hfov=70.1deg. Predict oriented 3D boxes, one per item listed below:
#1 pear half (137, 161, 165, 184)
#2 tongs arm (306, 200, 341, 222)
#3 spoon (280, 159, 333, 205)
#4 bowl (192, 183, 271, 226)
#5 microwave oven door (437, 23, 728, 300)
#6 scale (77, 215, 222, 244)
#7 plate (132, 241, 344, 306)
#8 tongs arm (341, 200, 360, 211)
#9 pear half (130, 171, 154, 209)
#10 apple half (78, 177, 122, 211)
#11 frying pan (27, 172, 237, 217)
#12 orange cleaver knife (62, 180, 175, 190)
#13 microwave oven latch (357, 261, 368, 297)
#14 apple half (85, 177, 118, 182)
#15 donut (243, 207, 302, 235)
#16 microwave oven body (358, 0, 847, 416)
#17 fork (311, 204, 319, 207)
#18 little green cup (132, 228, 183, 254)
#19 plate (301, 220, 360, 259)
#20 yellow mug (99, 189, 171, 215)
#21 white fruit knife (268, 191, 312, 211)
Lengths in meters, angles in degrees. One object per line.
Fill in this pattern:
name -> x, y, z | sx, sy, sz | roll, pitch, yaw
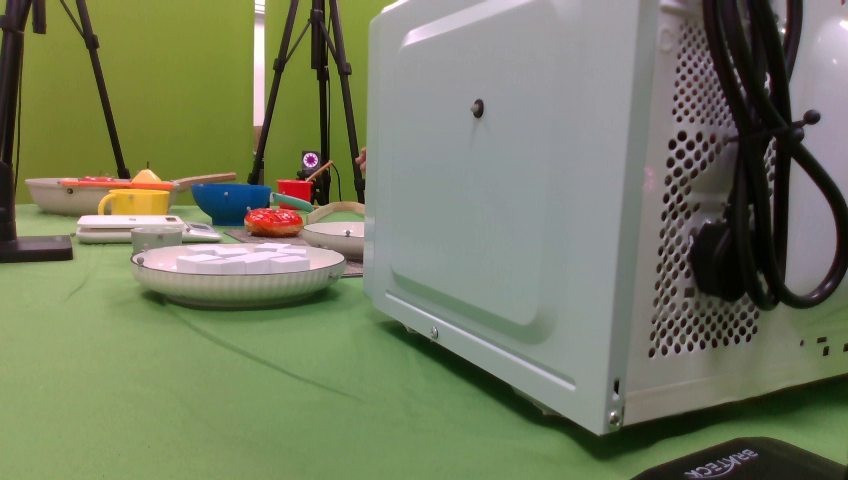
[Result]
pear half -> -0.604, -0.120, 1.354 | 0.056, 0.110, 0.076 | 4, 11, 7
tongs arm -> -0.234, -0.068, 1.414 | 0.028, 0.028, 0.387 | -5, 7, 1
spoon -> -0.316, -0.159, 1.640 | 0.194, 0.022, 0.041 | -49, 32, -20
bowl -> -0.382, -0.071, 1.202 | 0.151, 0.077, 0.151 | 3, 7, 0
microwave oven door -> 0.180, -0.072, 0.621 | 0.358, 0.243, 0.039 | -2, 8, -29
scale -> -0.434, -0.019, 0.963 | 0.202, 0.031, 0.148 | -1, 9, -27
plate -> -0.187, 0.033, 0.625 | 0.208, 0.039, 0.207 | 2, 8, 0
tongs arm -> -0.149, -0.070, 1.429 | 0.051, 0.026, 0.383 | -4, 8, -15
pear half -> -0.640, -0.114, 1.361 | 0.031, 0.088, 0.070 | 5, 10, 5
apple half -> -0.698, -0.099, 1.298 | 0.081, 0.074, 0.053 | -9, 9, -40
frying pan -> -0.624, -0.118, 1.387 | 0.305, 0.102, 0.490 | 8, 17, 32
orange cleaver knife -> -0.600, -0.110, 1.193 | 0.212, 0.012, 0.077 | 1, 8, -13
microwave oven latch -> -0.019, 0.033, 0.531 | 0.079, 0.029, 0.030 | -1, 7, -27
apple half -> -0.673, -0.096, 1.269 | 0.082, 0.081, 0.032 | -4, 6, -40
donut -> -0.261, -0.032, 1.043 | 0.099, 0.048, 0.099 | 4, 9, 0
microwave oven body -> 0.211, -0.047, 0.474 | 0.444, 0.260, 0.324 | -1, 7, -28
fork -> -0.356, -0.105, 1.526 | 0.208, 0.018, 0.028 | 16, -5, -41
little green cup -> -0.342, 0.006, 0.779 | 0.061, 0.038, 0.061 | 2, 8, 0
plate -> -0.077, -0.002, 0.893 | 0.209, 0.038, 0.209 | 3, 8, 0
yellow mug -> -0.518, -0.055, 1.080 | 0.099, 0.064, 0.131 | 7, 9, 26
white fruit knife -> -0.364, -0.105, 1.464 | 0.208, 0.027, 0.016 | 15, 0, -34
